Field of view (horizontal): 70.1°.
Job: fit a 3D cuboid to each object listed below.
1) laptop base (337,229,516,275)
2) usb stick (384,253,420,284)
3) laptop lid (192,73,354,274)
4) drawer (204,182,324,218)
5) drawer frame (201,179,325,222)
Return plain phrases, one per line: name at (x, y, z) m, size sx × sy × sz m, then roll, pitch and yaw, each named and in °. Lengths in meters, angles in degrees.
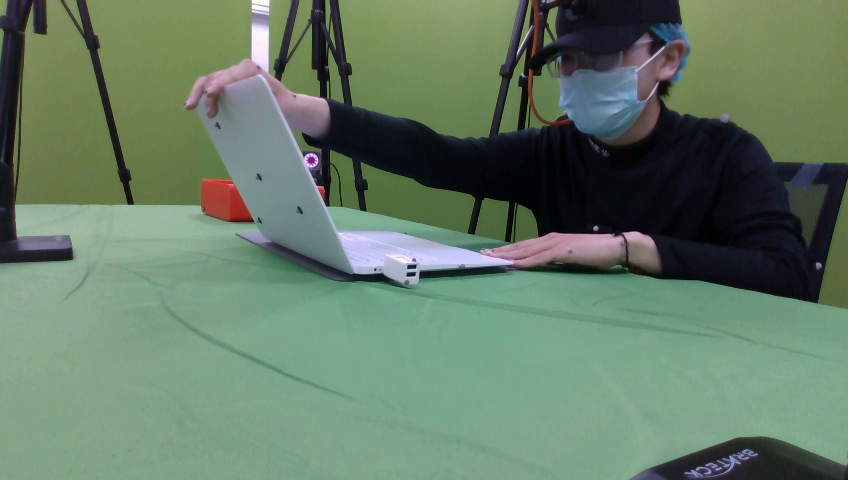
laptop base at (-0.066, 0.014, 0.877) m, size 0.237 × 0.023 × 0.352 m, roll 2°, pitch 7°, yaw -32°
usb stick at (-0.029, 0.030, 0.675) m, size 0.021 × 0.027 × 0.059 m, roll -2°, pitch 9°, yaw -33°
laptop lid at (-0.208, -0.084, 0.774) m, size 0.013 × 0.242 × 0.355 m, roll -32°, pitch 24°, yaw -24°
drawer at (-0.360, -0.091, 1.358) m, size 0.213 × 0.073 × 0.193 m, roll -4°, pitch 10°, yaw -36°
drawer frame at (-0.361, -0.092, 1.356) m, size 0.215 × 0.082 × 0.200 m, roll -4°, pitch 10°, yaw -37°
